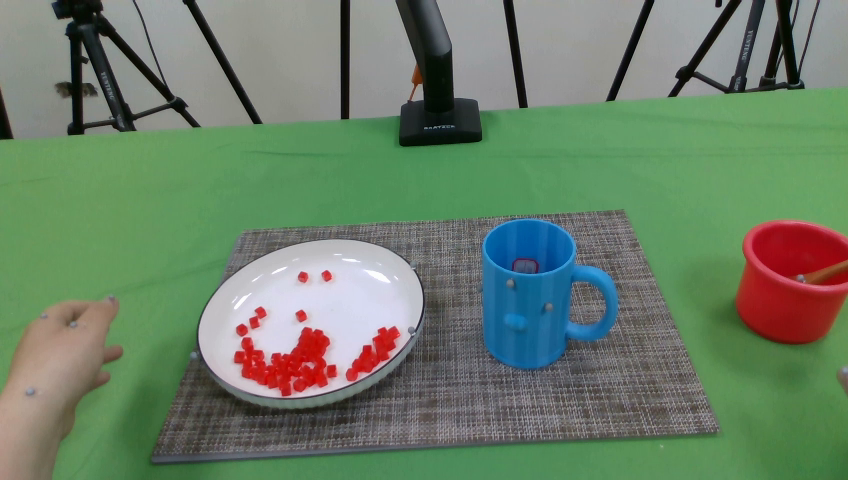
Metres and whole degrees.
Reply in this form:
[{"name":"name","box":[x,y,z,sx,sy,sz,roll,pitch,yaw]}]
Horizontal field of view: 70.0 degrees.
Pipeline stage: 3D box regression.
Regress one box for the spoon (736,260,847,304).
[{"name":"spoon","box":[0.357,0.023,0.505,0.041,0.193,0.021,-37,93,-40]}]

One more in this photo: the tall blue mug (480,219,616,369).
[{"name":"tall blue mug","box":[0.103,0.046,0.524,0.107,0.109,0.077,-7,37,-3]}]

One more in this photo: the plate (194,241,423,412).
[{"name":"plate","box":[-0.103,0.078,0.565,0.207,0.039,0.205,-3,38,2]}]
